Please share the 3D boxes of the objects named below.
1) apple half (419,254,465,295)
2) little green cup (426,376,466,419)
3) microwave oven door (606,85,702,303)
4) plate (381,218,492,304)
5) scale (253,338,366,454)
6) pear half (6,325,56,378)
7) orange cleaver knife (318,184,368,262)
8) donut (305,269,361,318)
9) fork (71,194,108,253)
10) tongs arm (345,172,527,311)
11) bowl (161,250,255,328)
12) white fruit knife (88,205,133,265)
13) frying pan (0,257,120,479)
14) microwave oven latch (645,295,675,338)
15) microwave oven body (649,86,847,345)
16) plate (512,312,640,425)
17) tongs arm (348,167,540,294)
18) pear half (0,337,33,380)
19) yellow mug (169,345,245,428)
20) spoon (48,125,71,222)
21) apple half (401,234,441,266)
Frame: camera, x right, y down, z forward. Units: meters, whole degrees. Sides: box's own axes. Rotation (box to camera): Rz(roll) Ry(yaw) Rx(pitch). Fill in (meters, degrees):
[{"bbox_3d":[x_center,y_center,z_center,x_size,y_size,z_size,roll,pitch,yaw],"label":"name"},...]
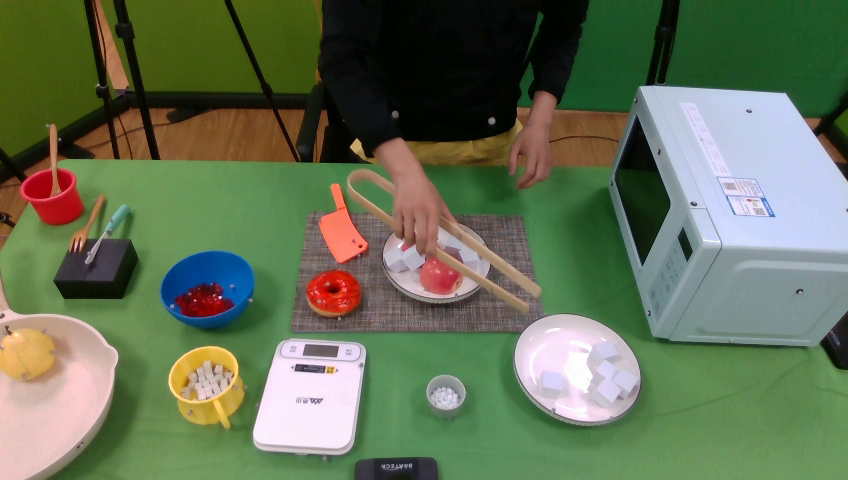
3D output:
[{"bbox_3d":[0.034,0.056,1.110,0.074,0.053,0.081,37,55,24],"label":"apple half"},{"bbox_3d":[0.033,0.248,0.950,0.061,0.039,0.061,2,46,-2],"label":"little green cup"},{"bbox_3d":[0.423,-0.094,1.140,0.039,0.245,0.353,2,46,-1],"label":"microwave oven door"},{"bbox_3d":[0.023,0.042,1.143,0.209,0.038,0.208,2,46,-2],"label":"plate"},{"bbox_3d":[-0.175,0.236,0.951,0.149,0.032,0.199,4,45,-1],"label":"scale"},{"bbox_3d":[-0.608,0.158,0.935,0.076,0.110,0.056,31,51,20],"label":"pear half"},{"bbox_3d":[-0.173,-0.037,1.218,0.077,0.012,0.210,-16,50,-12],"label":"orange cleaver knife"},{"bbox_3d":[-0.160,0.095,1.075,0.099,0.048,0.098,4,45,-3],"label":"donut"},{"bbox_3d":[-0.634,-0.036,1.158,0.028,0.019,0.206,-8,32,-8],"label":"fork"},{"bbox_3d":[0.009,0.000,1.012,0.386,0.028,0.028,35,63,16],"label":"tongs arm"},{"bbox_3d":[-0.362,0.098,1.039,0.151,0.077,0.150,2,45,-2],"label":"bowl"},{"bbox_3d":[-0.584,-0.013,1.129,0.016,0.027,0.206,-1,32,-5],"label":"white fruit knife"},{"bbox_3d":[-0.647,0.164,0.936,0.307,0.103,0.485,-19,58,-22],"label":"frying pan"},{"bbox_3d":[0.412,0.134,1.061,0.030,0.029,0.078,3,45,0],"label":"microwave oven latch"},{"bbox_3d":[0.567,-0.053,1.118,0.326,0.261,0.439,2,45,-1],"label":"microwave oven body"},{"bbox_3d":[0.246,0.213,0.999,0.208,0.039,0.206,2,46,-2],"label":"plate"},{"bbox_3d":[0.025,-0.017,1.027,0.383,0.026,0.050,37,60,17],"label":"tongs arm"},{"bbox_3d":[-0.631,0.184,0.921,0.070,0.088,0.031,29,49,19],"label":"pear half"},{"bbox_3d":[-0.322,0.230,0.922,0.100,0.064,0.130,-24,53,-25],"label":"yellow mug"},{"bbox_3d":[-0.718,-0.131,1.188,0.041,0.021,0.193,-3,90,-7],"label":"spoon"},{"bbox_3d":[-0.004,0.014,1.160,0.081,0.033,0.081,5,43,-5],"label":"apple half"}]
